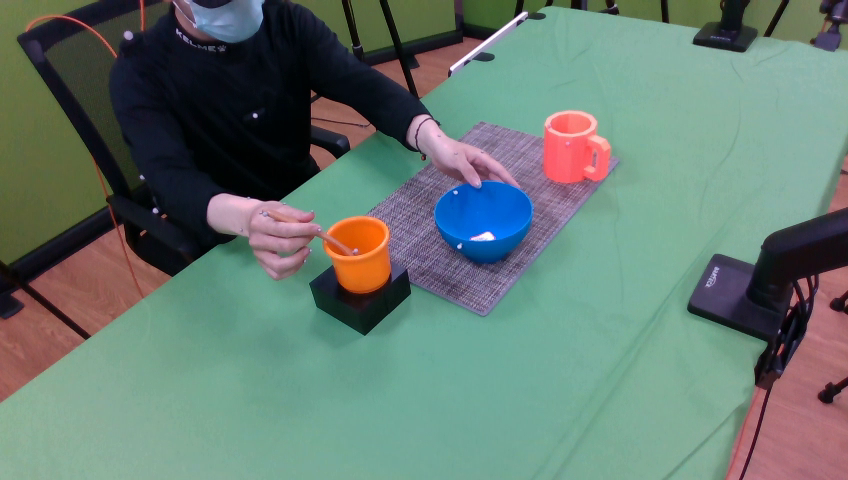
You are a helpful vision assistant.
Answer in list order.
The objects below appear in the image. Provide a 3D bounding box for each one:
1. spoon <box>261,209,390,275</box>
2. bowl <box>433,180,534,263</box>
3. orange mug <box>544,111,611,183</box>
[{"bbox_3d":[-0.128,0.002,0.808,0.021,0.195,0.041,-48,29,18],"label":"spoon"},{"bbox_3d":[0.092,-0.018,0.928,0.151,0.077,0.150,-4,41,4],"label":"bowl"},{"bbox_3d":[0.266,-0.157,1.049,0.084,0.101,0.125,-32,42,-26],"label":"orange mug"}]
